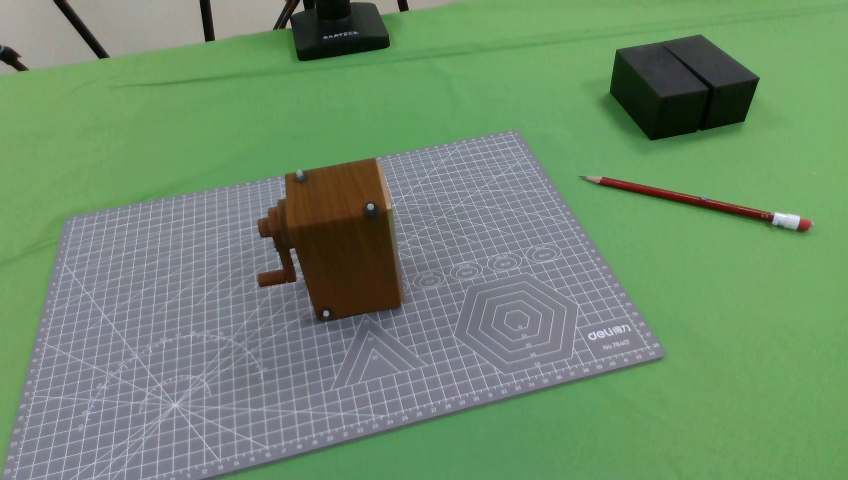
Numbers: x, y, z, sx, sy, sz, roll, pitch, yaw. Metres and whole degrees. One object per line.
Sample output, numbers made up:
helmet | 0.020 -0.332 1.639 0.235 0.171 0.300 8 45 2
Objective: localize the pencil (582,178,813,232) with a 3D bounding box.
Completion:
pencil | 0.237 -0.035 0.541 0.193 0.012 0.012 15 48 21

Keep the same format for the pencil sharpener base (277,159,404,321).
pencil sharpener base | -0.060 0.003 0.450 0.077 0.108 0.060 -11 45 -5

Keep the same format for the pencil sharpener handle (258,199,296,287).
pencil sharpener handle | -0.110 0.005 0.434 0.031 0.068 0.035 -11 34 -5
